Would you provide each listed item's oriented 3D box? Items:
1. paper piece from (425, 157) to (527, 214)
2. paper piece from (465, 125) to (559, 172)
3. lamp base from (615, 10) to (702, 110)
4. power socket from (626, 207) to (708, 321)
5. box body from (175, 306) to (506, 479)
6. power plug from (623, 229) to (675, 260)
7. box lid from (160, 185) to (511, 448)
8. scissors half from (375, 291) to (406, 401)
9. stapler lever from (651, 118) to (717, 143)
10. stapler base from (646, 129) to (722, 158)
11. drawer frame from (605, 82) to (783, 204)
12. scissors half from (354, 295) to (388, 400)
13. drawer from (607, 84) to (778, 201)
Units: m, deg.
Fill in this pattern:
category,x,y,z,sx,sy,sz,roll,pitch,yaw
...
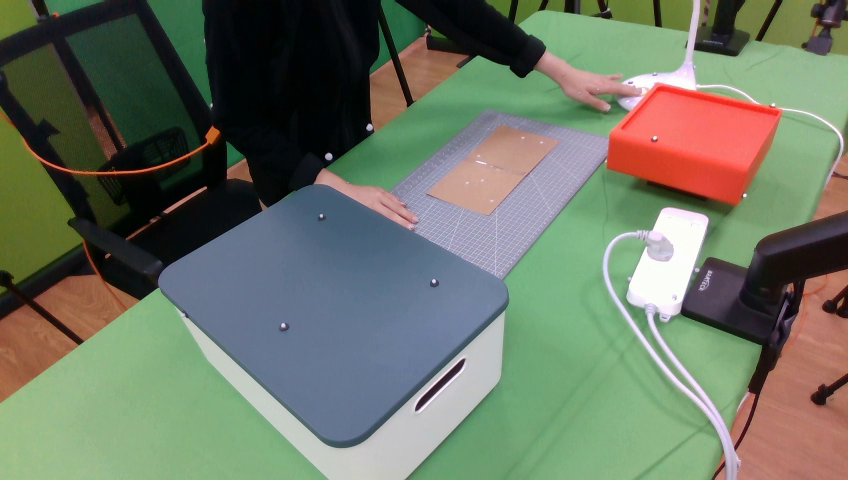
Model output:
category,x,y,z,sx,sy,sz,roll,pitch,yaw
paper piece,0.095,-0.103,1.089,0.134,0.004,0.136,22,48,30
paper piece,0.172,-0.177,1.168,0.137,0.009,0.136,21,44,30
lamp base,0.484,-0.364,1.211,0.180,0.181,0.159,-15,41,-14
power socket,0.360,0.026,0.886,0.072,0.033,0.227,16,46,26
box body,-0.105,0.111,0.752,0.361,0.161,0.255,28,52,35
power plug,0.327,0.007,0.878,0.072,0.053,0.035,25,51,33
box lid,-0.114,0.054,0.705,0.368,0.015,0.264,28,51,34
scissors half,-0.048,0.138,0.816,0.040,0.013,0.174,-5,46,9
stapler lever,0.436,-0.192,1.014,0.118,0.040,0.026,-15,24,-16
stapler base,0.439,-0.167,1.023,0.131,0.024,0.041,-17,25,-15
drawer frame,0.441,-0.167,0.995,0.212,0.083,0.202,23,48,30
scissors half,-0.068,0.142,0.818,0.040,0.013,0.174,-21,44,1
drawer,0.438,-0.167,0.996,0.210,0.073,0.195,23,48,30
